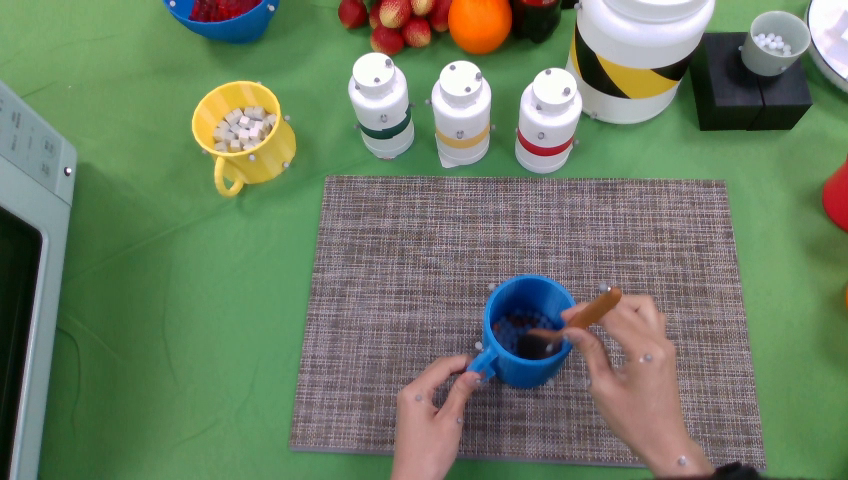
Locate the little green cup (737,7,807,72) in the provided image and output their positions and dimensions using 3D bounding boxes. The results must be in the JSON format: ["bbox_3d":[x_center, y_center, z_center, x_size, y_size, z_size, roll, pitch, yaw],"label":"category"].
[{"bbox_3d":[0.372,-0.214,0.654,0.061,0.039,0.061,0,66,1],"label":"little green cup"}]

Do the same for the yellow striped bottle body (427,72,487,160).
[{"bbox_3d":[0.037,-0.143,0.659,0.063,0.121,0.062,-2,67,4],"label":"yellow striped bottle body"}]

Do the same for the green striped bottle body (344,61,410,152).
[{"bbox_3d":[-0.051,-0.154,0.670,0.063,0.120,0.062,-1,67,4],"label":"green striped bottle body"}]

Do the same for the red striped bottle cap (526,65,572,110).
[{"bbox_3d":[0.124,-0.152,0.600,0.044,0.018,0.044,0,66,0],"label":"red striped bottle cap"}]

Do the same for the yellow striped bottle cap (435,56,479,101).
[{"bbox_3d":[0.033,-0.163,0.612,0.044,0.019,0.044,-1,69,3],"label":"yellow striped bottle cap"}]

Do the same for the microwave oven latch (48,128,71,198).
[{"bbox_3d":[-0.426,-0.087,0.694,0.030,0.030,0.078,-6,68,1],"label":"microwave oven latch"}]

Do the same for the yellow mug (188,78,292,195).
[{"bbox_3d":[-0.214,-0.113,0.694,0.100,0.064,0.130,10,70,8],"label":"yellow mug"}]

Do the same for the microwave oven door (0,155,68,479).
[{"bbox_3d":[-0.411,0.075,0.517,0.039,0.245,0.353,-8,67,2],"label":"microwave oven door"}]

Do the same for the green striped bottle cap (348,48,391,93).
[{"bbox_3d":[-0.056,-0.174,0.622,0.044,0.020,0.044,-1,67,2],"label":"green striped bottle cap"}]

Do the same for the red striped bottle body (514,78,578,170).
[{"bbox_3d":[0.129,-0.131,0.648,0.063,0.120,0.062,-2,66,6],"label":"red striped bottle body"}]

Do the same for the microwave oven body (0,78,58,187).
[{"bbox_3d":[-0.560,0.057,0.540,0.326,0.262,0.438,-8,68,1],"label":"microwave oven body"}]

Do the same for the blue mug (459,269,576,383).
[{"bbox_3d":[0.080,0.093,0.564,0.116,0.106,0.081,-35,69,-10],"label":"blue mug"}]

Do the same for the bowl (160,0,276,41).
[{"bbox_3d":[-0.250,-0.310,0.770,0.151,0.077,0.150,-1,68,3],"label":"bowl"}]

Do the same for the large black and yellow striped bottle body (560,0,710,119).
[{"bbox_3d":[0.222,-0.231,0.648,0.131,0.185,0.130,-1,68,4],"label":"large black and yellow striped bottle body"}]

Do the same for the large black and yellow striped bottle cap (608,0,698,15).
[{"bbox_3d":[0.215,-0.262,0.570,0.115,0.019,0.114,-2,67,4],"label":"large black and yellow striped bottle cap"}]

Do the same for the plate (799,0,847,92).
[{"bbox_3d":[0.543,-0.240,0.708,0.209,0.038,0.207,-1,68,3],"label":"plate"}]

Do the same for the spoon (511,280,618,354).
[{"bbox_3d":[0.114,0.069,0.503,0.041,0.194,0.021,34,69,3],"label":"spoon"}]
